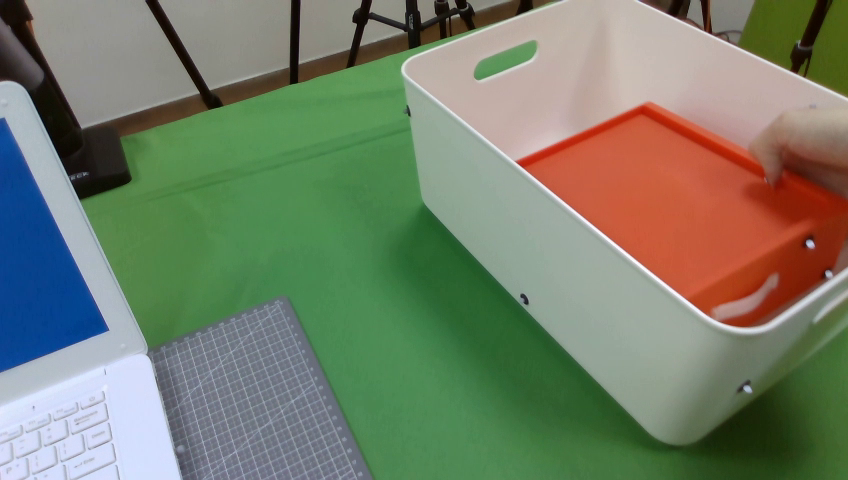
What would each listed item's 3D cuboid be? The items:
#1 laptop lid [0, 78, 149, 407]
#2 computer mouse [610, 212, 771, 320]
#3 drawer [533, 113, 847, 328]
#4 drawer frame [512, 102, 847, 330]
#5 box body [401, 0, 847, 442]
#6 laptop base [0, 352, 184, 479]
[{"bbox_3d":[-0.413,0.050,0.416,0.357,0.243,0.013,-24,19,-17],"label":"laptop lid"},{"bbox_3d":[0.209,0.017,0.477,0.117,0.041,0.062,-20,52,-6],"label":"computer mouse"},{"bbox_3d":[0.185,-0.011,0.505,0.194,0.074,0.209,-26,41,-13],"label":"drawer"},{"bbox_3d":[0.184,-0.013,0.505,0.202,0.083,0.211,-26,40,-14],"label":"drawer frame"},{"bbox_3d":[0.177,-0.045,0.516,0.254,0.162,0.360,-26,49,-21],"label":"box body"},{"bbox_3d":[-0.327,0.228,0.379,0.355,0.023,0.233,-22,51,-18],"label":"laptop base"}]
